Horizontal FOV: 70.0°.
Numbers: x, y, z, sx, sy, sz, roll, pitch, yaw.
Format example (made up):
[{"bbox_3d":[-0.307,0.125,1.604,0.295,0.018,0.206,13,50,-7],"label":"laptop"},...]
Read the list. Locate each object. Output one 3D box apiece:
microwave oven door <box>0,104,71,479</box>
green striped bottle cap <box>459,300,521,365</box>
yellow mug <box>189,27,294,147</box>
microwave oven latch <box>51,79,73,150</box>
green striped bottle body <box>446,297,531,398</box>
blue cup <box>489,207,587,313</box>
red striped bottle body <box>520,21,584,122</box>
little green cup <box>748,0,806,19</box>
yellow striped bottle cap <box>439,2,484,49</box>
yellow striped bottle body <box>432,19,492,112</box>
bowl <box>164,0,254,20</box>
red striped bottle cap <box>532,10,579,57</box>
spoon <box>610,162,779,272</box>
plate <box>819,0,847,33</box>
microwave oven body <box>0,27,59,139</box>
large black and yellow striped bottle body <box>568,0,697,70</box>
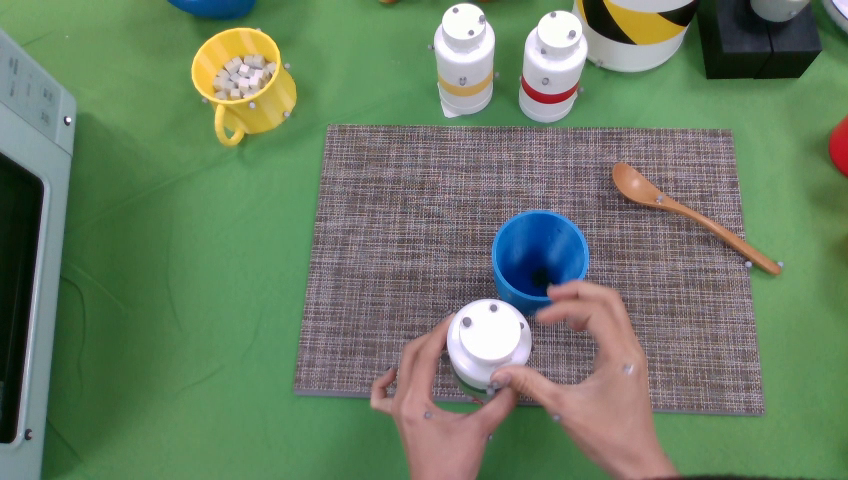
[{"bbox_3d":[-0.407,0.029,0.521,0.039,0.245,0.353,-8,70,2],"label":"microwave oven door"},{"bbox_3d":[0.046,0.065,0.426,0.044,0.020,0.044,-2,67,4],"label":"green striped bottle cap"},{"bbox_3d":[-0.210,-0.167,0.687,0.100,0.064,0.130,11,72,7],"label":"yellow mug"},{"bbox_3d":[-0.421,-0.141,0.689,0.030,0.030,0.078,-6,71,2],"label":"microwave oven latch"},{"bbox_3d":[0.049,0.084,0.475,0.063,0.120,0.062,-1,68,3],"label":"green striped bottle body"},{"bbox_3d":[0.101,0.028,0.572,0.092,0.101,0.092,-1,69,3],"label":"blue cup"},{"bbox_3d":[0.134,-0.182,0.638,0.063,0.120,0.062,-3,68,7],"label":"red striped bottle body"},{"bbox_3d":[0.376,-0.266,0.639,0.061,0.039,0.061,-1,69,3],"label":"little green cup"},{"bbox_3d":[0.037,-0.213,0.601,0.044,0.019,0.044,-1,72,3],"label":"yellow striped bottle cap"},{"bbox_3d":[0.042,-0.195,0.649,0.063,0.121,0.062,-2,70,5],"label":"yellow striped bottle body"},{"bbox_3d":[-0.255,-0.326,0.741,0.151,0.077,0.150,-1,71,3],"label":"bowl"},{"bbox_3d":[0.128,-0.201,0.589,0.044,0.018,0.044,0,69,0],"label":"red striped bottle cap"},{"bbox_3d":[0.274,-0.023,0.619,0.193,0.022,0.041,33,51,14],"label":"spoon"},{"bbox_3d":[0.547,-0.294,0.690,0.209,0.038,0.207,-1,71,4],"label":"plate"},{"bbox_3d":[-0.556,0.010,0.544,0.326,0.262,0.438,-8,71,1],"label":"microwave oven body"},{"bbox_3d":[0.226,-0.282,0.633,0.131,0.185,0.130,-1,70,4],"label":"large black and yellow striped bottle body"}]
